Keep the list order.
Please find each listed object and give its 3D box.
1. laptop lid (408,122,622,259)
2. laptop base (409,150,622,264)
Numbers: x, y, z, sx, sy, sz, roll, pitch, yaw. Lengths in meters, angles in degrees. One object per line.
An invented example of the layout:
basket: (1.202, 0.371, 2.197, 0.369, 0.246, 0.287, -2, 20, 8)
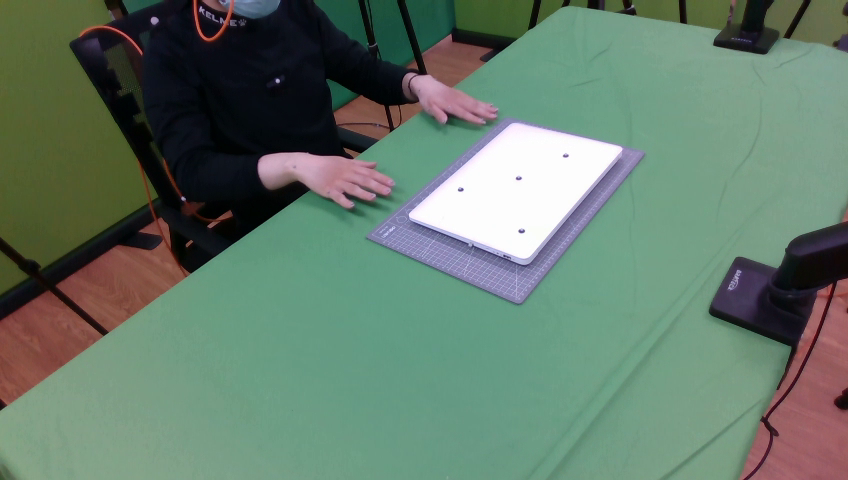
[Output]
laptop lid: (0.165, -0.105, 1.050, 0.240, 0.013, 0.358, 22, 48, 33)
laptop base: (0.168, -0.095, 1.057, 0.233, 0.023, 0.355, 20, 47, 33)
